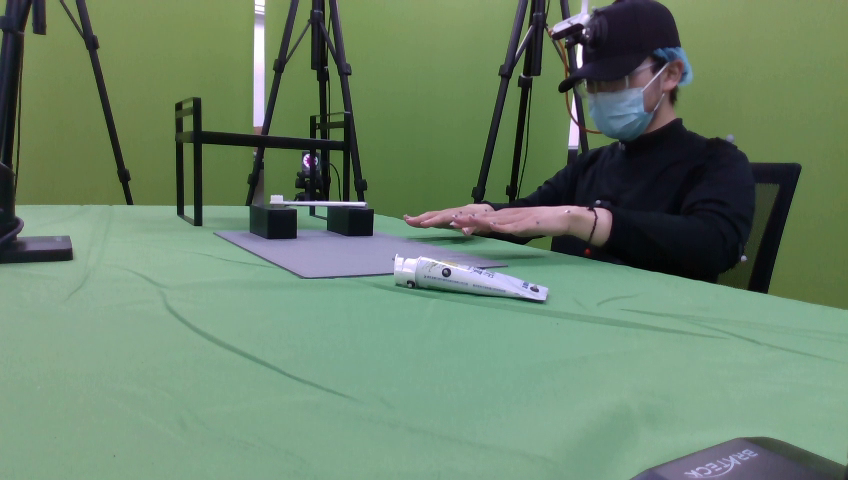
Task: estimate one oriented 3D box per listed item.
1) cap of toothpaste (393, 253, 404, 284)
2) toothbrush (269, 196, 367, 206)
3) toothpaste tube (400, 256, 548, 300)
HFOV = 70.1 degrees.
[{"bbox_3d":[-0.028,0.032,0.678,0.011,0.037,0.037,1,8,4],"label":"cap of toothpaste"},{"bbox_3d":[-0.187,-0.069,1.088,0.183,0.016,0.014,0,-4,-28],"label":"toothbrush"},{"bbox_3d":[0.051,0.044,0.659,0.165,0.034,0.055,8,17,12],"label":"toothpaste tube"}]
